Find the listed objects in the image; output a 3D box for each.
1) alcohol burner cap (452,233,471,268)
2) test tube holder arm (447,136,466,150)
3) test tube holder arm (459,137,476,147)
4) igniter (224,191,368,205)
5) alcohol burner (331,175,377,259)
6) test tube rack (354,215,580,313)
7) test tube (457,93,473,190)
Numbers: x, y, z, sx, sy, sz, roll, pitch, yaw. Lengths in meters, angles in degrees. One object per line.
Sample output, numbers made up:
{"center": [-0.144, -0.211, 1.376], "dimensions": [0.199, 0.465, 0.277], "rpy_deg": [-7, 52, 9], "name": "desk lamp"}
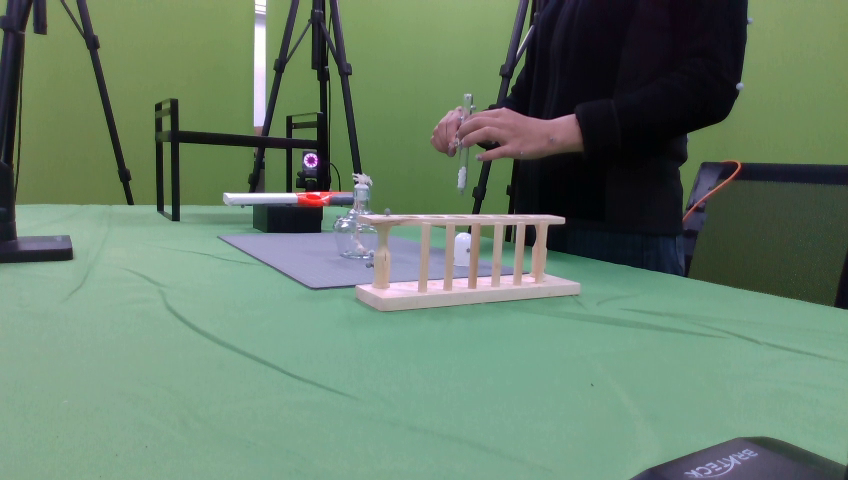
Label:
{"center": [0.053, 0.014, 0.823], "dimensions": [0.034, 0.048, 0.034], "rpy_deg": [3, 6, 0], "name": "alcohol burner cap"}
{"center": [0.053, -0.162, 1.011], "dimensions": [0.013, 0.015, 0.178], "rpy_deg": [9, 5, -6], "name": "test tube holder arm"}
{"center": [0.065, -0.156, 0.968], "dimensions": [0.010, 0.015, 0.087], "rpy_deg": [7, 6, -15], "name": "test tube holder arm"}
{"center": [-0.237, -0.079, 1.157], "dimensions": [0.278, 0.025, 0.057], "rpy_deg": [-2, 21, -31], "name": "igniter"}
{"center": [-0.091, -0.033, 0.855], "dimensions": [0.078, 0.119, 0.078], "rpy_deg": [4, 7, 0], "name": "alcohol burner"}
{"center": [0.053, 0.019, 0.635], "dimensions": [0.243, 0.085, 0.066], "rpy_deg": [-1, 8, -29], "name": "test tube rack"}
{"center": [0.064, -0.153, 0.945], "dimensions": [0.017, 0.150, 0.017], "rpy_deg": [3, 8, 0], "name": "test tube"}
